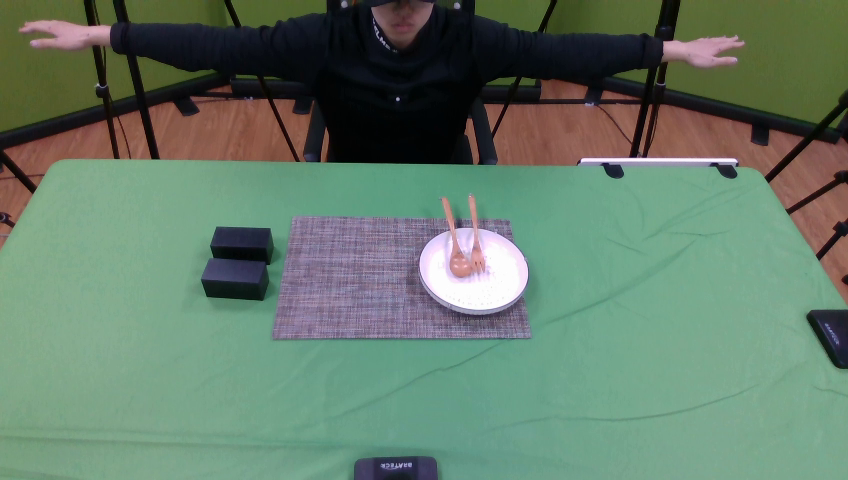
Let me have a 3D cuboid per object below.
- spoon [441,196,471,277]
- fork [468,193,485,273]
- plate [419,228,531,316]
[{"bbox_3d":[0.056,-0.010,1.176,0.041,0.022,0.192,-7,60,-5],"label":"spoon"},{"bbox_3d":[0.099,-0.017,1.188,0.028,0.019,0.206,-2,54,-1],"label":"fork"},{"bbox_3d":[0.093,0.062,1.131,0.208,0.039,0.206,2,46,-2],"label":"plate"}]
